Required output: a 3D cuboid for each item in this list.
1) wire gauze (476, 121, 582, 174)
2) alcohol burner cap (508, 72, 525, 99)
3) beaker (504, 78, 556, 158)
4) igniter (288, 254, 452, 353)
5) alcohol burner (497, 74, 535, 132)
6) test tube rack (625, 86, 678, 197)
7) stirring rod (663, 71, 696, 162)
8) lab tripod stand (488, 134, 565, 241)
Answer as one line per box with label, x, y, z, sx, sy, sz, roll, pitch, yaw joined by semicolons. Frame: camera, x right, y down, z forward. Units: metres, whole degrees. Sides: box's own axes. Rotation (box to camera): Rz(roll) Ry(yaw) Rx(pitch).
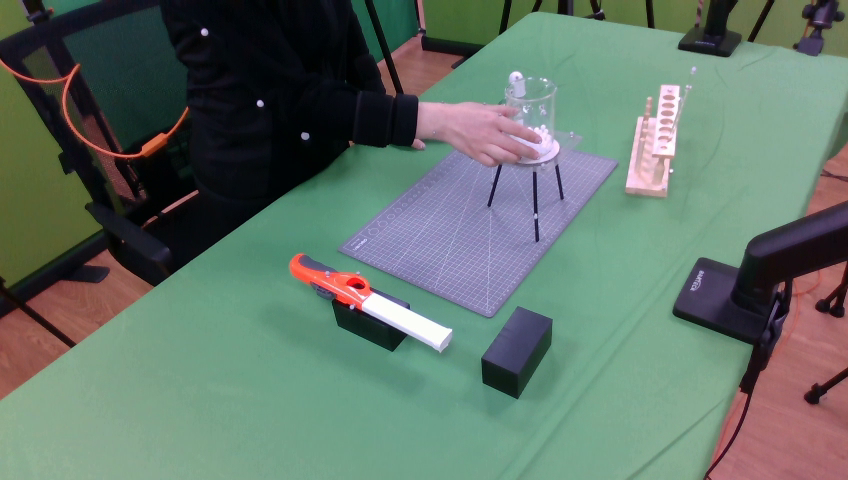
wire gauze;0.162;-0.141;0.929;0.120;0.011;0.125;19;49;32
alcohol burner cap;0.181;-0.306;1.186;0.034;0.048;0.033;-7;39;6
beaker;0.160;-0.181;0.900;0.084;0.101;0.073;-32;45;-27
igniter;-0.083;0.080;0.818;0.274;0.025;0.057;23;46;27
alcohol burner;0.184;-0.278;1.210;0.078;0.119;0.077;-3;42;3
test tube rack;0.412;-0.184;1.088;0.066;0.085;0.242;9;43;18
stirring rod;0.411;-0.196;0.981;0.014;0.177;0.006;11;50;13
lab tripod stand;0.169;-0.092;0.972;0.148;0.132;0.147;-5;41;5
